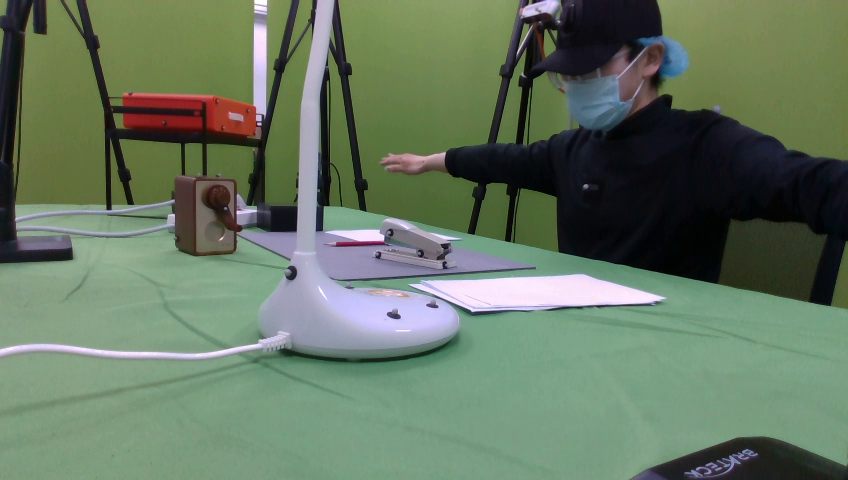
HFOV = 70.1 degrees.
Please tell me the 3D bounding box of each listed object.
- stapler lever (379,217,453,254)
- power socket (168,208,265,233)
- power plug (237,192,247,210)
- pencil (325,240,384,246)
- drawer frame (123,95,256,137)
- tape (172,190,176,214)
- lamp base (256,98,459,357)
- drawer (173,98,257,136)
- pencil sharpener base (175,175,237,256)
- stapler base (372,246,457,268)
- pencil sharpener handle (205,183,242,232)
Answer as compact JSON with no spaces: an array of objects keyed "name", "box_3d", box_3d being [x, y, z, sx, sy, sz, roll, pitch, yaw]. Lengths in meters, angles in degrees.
[{"name":"stapler lever","box_3d":[-0.014,-0.007,0.827,0.117,0.040,0.027,9,12,39]},{"name":"power socket","box_3d":[-0.381,-0.038,1.129,0.072,0.032,0.227,4,8,17]},{"name":"power plug","box_3d":[-0.386,-0.071,1.204,0.072,0.052,0.035,7,9,26]},{"name":"pencil","box_3d":[-0.066,0.003,0.979,0.195,0.012,0.012,-3,9,-25]},{"name":"drawer frame","box_3d":[-0.523,-0.281,1.376,0.213,0.082,0.202,3,8,8]},{"name":"tape","box_3d":[-0.515,-0.087,1.388,0.117,0.052,0.117,3,7,0]},{"name":"lamp base","box_3d":[-0.055,-0.013,0.463,0.160,0.180,0.180,6,11,27]},{"name":"drawer","box_3d":[-0.518,-0.279,1.376,0.211,0.073,0.195,3,8,10]},{"name":"pencil sharpener base","box_3d":[-0.304,-0.036,0.847,0.062,0.107,0.076,-4,10,-42]},{"name":"stapler base","box_3d":[-0.016,0.017,0.831,0.130,0.024,0.041,10,12,39]},{"name":"pencil sharpener handle","box_3d":[-0.265,-0.043,0.812,0.036,0.068,0.030,-32,28,-35]}]
